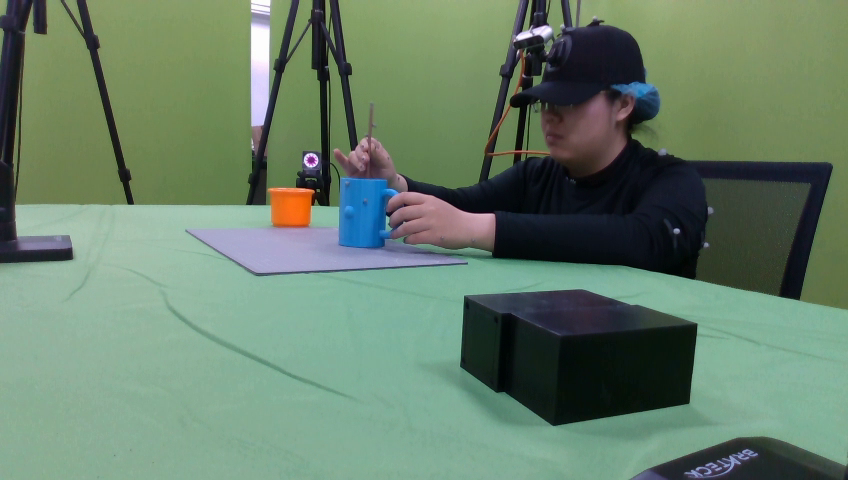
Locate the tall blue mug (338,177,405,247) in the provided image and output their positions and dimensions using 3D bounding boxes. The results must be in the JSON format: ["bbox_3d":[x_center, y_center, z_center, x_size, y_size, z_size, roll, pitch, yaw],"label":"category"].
[{"bbox_3d":[-0.083,-0.045,0.973,0.107,0.108,0.078,2,6,0],"label":"tall blue mug"}]

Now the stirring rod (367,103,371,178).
[{"bbox_3d":[-0.089,-0.132,0.968,0.006,0.176,0.014,1,-3,-14],"label":"stirring rod"}]
